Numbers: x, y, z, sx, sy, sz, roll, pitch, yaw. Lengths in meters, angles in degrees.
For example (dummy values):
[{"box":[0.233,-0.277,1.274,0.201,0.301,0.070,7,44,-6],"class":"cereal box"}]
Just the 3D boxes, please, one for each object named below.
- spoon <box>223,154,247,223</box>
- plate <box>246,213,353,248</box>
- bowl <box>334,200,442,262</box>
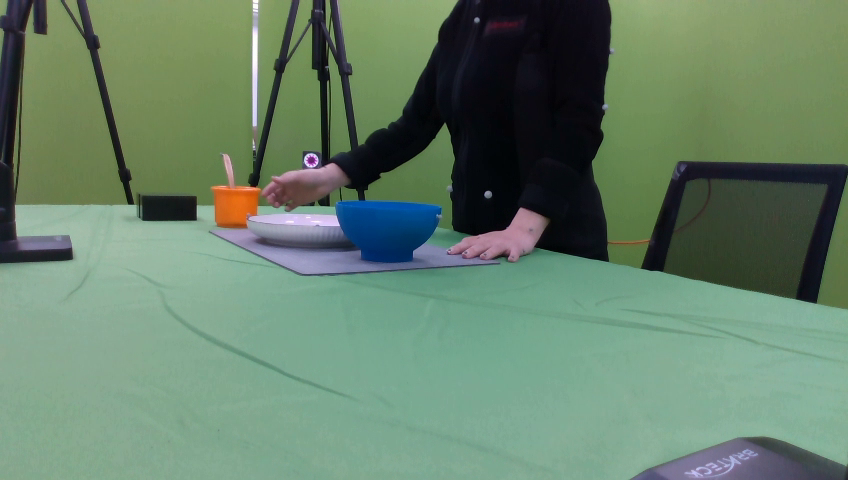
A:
[{"box":[-0.382,-0.104,1.202,0.042,0.193,0.021,0,-37,-27],"class":"spoon"},{"box":[-0.185,-0.017,0.995,0.209,0.038,0.209,3,8,0],"class":"plate"},{"box":[-0.051,-0.013,0.848,0.151,0.077,0.151,3,7,0],"class":"bowl"}]
